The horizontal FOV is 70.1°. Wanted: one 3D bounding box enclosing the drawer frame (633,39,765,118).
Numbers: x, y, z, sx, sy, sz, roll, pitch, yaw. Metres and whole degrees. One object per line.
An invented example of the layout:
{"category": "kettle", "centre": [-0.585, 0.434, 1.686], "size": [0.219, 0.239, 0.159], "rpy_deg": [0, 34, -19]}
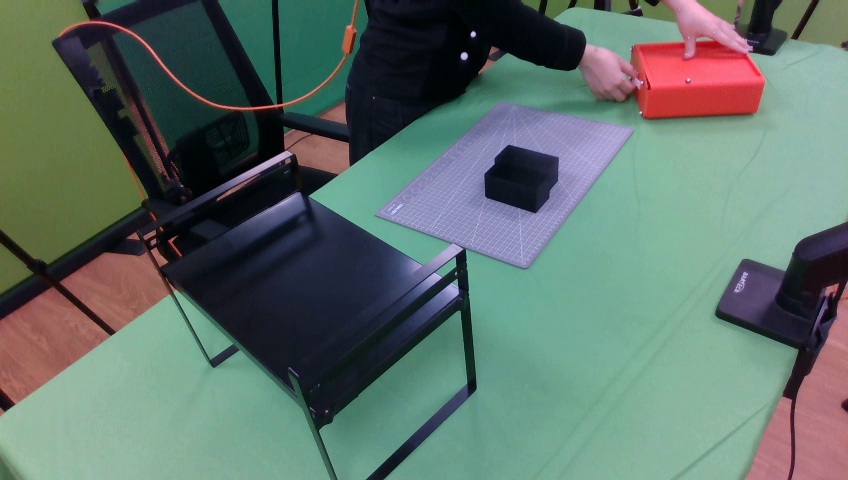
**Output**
{"category": "drawer frame", "centre": [0.544, -0.332, 1.233], "size": [0.213, 0.083, 0.201], "rpy_deg": [-1, 41, 7]}

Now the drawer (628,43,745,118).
{"category": "drawer", "centre": [0.538, -0.330, 1.235], "size": [0.211, 0.073, 0.194], "rpy_deg": [0, 41, 7]}

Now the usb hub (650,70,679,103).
{"category": "usb hub", "centre": [0.498, -0.318, 1.249], "size": [0.049, 0.025, 0.125], "rpy_deg": [10, 38, 20]}
